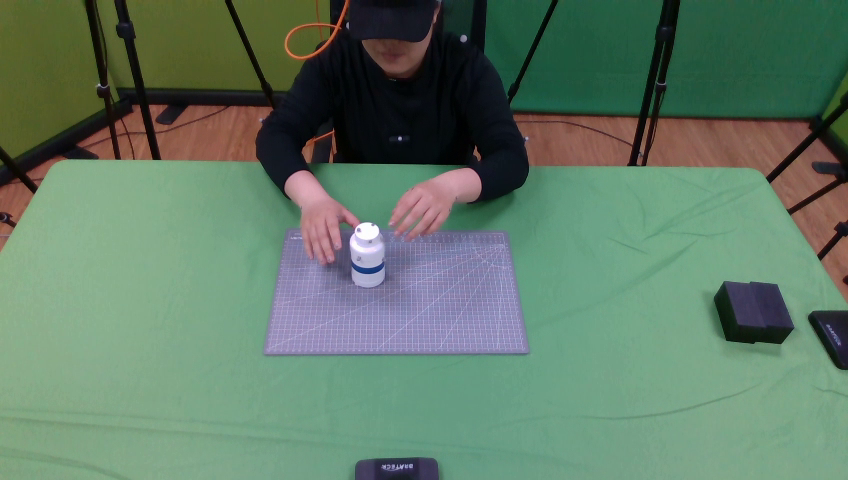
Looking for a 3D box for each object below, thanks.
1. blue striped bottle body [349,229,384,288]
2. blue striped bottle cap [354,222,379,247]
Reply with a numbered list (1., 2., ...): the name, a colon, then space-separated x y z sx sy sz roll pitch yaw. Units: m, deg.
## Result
1. blue striped bottle body: -0.103 0.026 1.093 0.063 0.121 0.062 2 46 -2
2. blue striped bottle cap: -0.100 -0.009 1.057 0.044 0.021 0.044 2 45 -2
